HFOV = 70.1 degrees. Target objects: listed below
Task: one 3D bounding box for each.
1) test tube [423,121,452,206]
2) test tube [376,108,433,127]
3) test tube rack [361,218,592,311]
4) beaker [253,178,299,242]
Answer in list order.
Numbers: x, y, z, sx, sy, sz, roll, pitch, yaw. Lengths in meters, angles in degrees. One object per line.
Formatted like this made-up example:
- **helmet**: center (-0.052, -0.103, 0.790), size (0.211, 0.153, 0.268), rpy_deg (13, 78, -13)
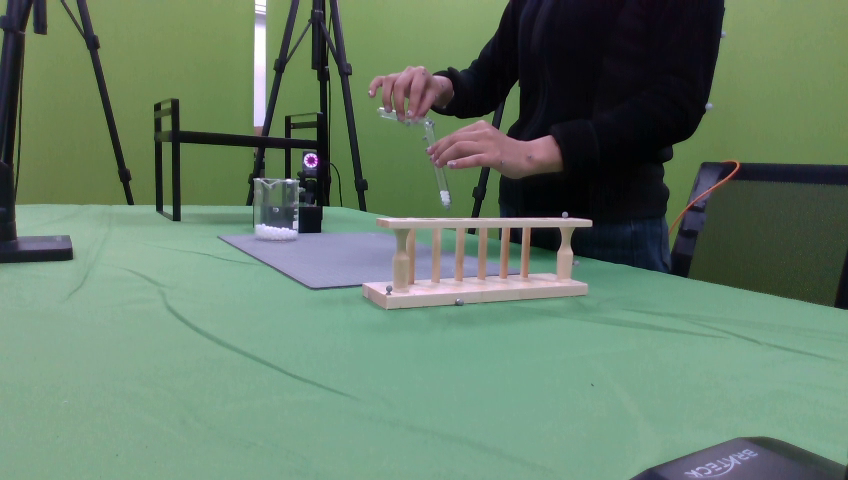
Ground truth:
- **test tube**: center (0.020, -0.114, 0.889), size (0.017, 0.150, 0.017), rpy_deg (-9, -28, -5)
- **test tube**: center (-0.035, -0.200, 0.979), size (0.017, 0.017, 0.149), rpy_deg (-3, 17, -37)
- **test tube rack**: center (0.060, 0.018, 0.640), size (0.243, 0.085, 0.066), rpy_deg (-1, 8, -27)
- **beaker**: center (-0.243, -0.050, 0.990), size (0.074, 0.100, 0.084), rpy_deg (2, 9, 1)
